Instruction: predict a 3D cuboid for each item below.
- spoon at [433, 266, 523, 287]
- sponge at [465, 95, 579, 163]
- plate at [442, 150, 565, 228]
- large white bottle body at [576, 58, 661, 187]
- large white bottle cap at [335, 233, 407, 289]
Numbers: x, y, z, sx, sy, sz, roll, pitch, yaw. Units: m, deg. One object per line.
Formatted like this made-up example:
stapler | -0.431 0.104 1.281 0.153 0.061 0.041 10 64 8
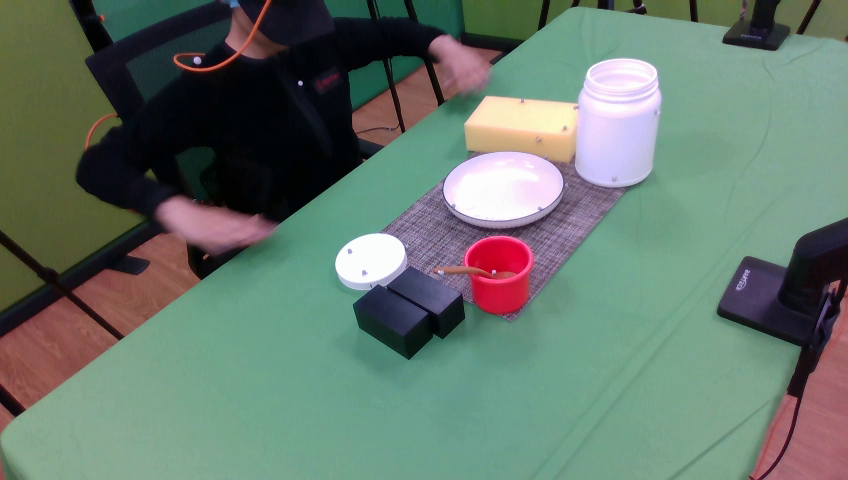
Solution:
spoon | 0.074 0.045 0.815 0.041 0.021 0.195 32 12 38
sponge | 0.197 -0.218 1.167 0.206 0.061 0.118 11 44 22
plate | 0.136 -0.085 1.039 0.209 0.038 0.208 -5 40 5
large white bottle body | 0.326 -0.197 1.021 0.130 0.185 0.130 -5 40 5
large white bottle cap | -0.085 0.032 0.961 0.115 0.018 0.114 -6 42 6
